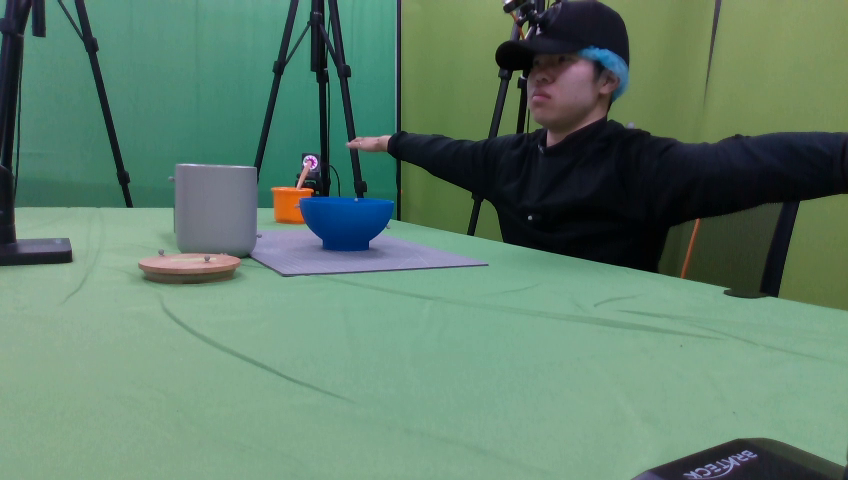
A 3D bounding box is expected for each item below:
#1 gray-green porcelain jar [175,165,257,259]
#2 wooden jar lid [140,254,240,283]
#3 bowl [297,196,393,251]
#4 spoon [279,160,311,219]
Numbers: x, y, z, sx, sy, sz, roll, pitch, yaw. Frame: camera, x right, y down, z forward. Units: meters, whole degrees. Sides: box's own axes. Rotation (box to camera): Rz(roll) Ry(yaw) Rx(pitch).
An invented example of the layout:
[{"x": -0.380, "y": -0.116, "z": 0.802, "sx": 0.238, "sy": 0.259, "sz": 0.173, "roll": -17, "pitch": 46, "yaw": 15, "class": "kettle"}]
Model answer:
[{"x": -0.286, "y": -0.039, "z": 0.837, "sx": 0.106, "sy": 0.126, "sz": 0.106, "roll": 2, "pitch": 7, "yaw": 0, "class": "gray-green porcelain jar"}, {"x": -0.269, "y": 0.033, "z": 0.698, "sx": 0.108, "sy": 0.020, "sz": 0.108, "roll": 2, "pitch": 5, "yaw": 0, "class": "wooden jar lid"}, {"x": -0.125, "y": -0.026, "z": 0.958, "sx": 0.151, "sy": 0.077, "sz": 0.151, "roll": 2, "pitch": 7, "yaw": 0, "class": "bowl"}, {"x": -0.284, "y": -0.117, "z": 1.371, "sx": 0.041, "sy": 0.193, "sz": 0.022, "roll": 4, "pitch": -37, "yaw": 10, "class": "spoon"}]
